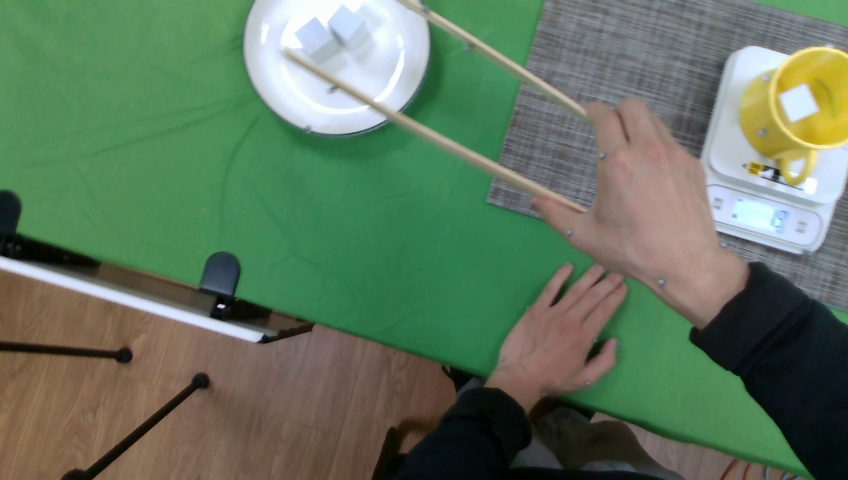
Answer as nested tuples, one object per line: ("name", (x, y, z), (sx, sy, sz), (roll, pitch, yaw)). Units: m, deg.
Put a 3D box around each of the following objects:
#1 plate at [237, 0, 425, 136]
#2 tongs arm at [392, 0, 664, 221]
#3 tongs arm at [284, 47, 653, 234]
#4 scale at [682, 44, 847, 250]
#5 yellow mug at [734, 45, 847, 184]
("plate", (-0.101, -0.217, 0.682), (0.207, 0.039, 0.207), (0, 88, 2))
("tongs arm", (0.047, -0.143, 0.521), (0.381, 0.027, 0.051), (39, 92, 25))
("tongs arm", (0.013, -0.096, 0.524), (0.384, 0.028, 0.028), (32, 85, 26))
("scale", (0.377, -0.100, 0.656), (0.148, 0.031, 0.200), (16, 89, 3))
("yellow mug", (0.376, -0.121, 0.610), (0.100, 0.064, 0.130), (6, 89, 2))
